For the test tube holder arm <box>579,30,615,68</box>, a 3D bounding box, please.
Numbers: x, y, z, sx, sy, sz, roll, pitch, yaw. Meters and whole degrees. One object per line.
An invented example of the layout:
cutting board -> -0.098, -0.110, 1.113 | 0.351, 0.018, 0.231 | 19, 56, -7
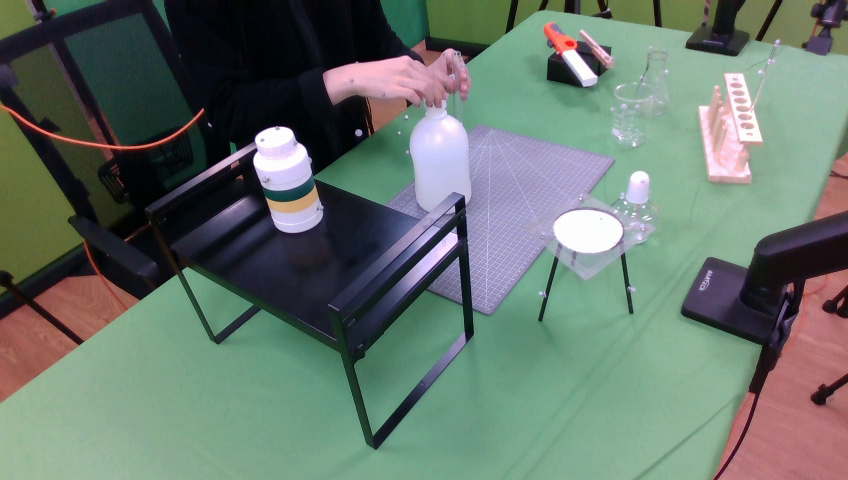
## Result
test tube holder arm -> 0.383, -0.428, 1.351 | 0.013, 0.015, 0.177 | -11, 41, -3

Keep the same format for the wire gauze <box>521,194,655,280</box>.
wire gauze -> 0.207, -0.012, 0.772 | 0.122, 0.011, 0.124 | -28, 44, -20

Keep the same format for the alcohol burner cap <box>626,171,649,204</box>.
alcohol burner cap -> 0.320, -0.081, 0.900 | 0.034, 0.048, 0.033 | -4, 42, 4

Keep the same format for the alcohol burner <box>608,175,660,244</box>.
alcohol burner -> 0.322, -0.053, 0.924 | 0.078, 0.119, 0.077 | -4, 43, 4

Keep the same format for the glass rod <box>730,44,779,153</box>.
glass rod -> 0.555, -0.234, 1.020 | 0.008, 0.200, 0.008 | 2, 40, -1

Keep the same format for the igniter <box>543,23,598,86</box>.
igniter -> 0.320, -0.419, 1.344 | 0.057, 0.025, 0.274 | -12, 44, -3

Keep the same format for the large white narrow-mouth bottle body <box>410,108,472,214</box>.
large white narrow-mouth bottle body -> 0.027, -0.145, 1.006 | 0.102, 0.195, 0.101 | -4, 40, 4

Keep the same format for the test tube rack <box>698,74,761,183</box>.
test tube rack -> 0.547, -0.208, 1.095 | 0.066, 0.085, 0.242 | 5, 42, 15

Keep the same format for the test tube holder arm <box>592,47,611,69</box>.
test tube holder arm -> 0.385, -0.398, 1.317 | 0.010, 0.015, 0.087 | -11, 41, -2

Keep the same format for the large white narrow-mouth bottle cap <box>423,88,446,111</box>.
large white narrow-mouth bottle cap -> 0.016, -0.220, 0.945 | 0.038, 0.024, 0.037 | -4, 40, 4

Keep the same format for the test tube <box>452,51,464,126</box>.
test tube -> 0.058, -0.252, 1.035 | 0.017, 0.151, 0.017 | -3, 46, 3

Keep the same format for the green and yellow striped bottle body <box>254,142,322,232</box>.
green and yellow striped bottle body -> -0.165, -0.073, 0.732 | 0.063, 0.120, 0.063 | -4, 41, 4

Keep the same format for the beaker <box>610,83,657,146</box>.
beaker -> 0.388, -0.235, 1.138 | 0.074, 0.101, 0.083 | -31, 45, -25

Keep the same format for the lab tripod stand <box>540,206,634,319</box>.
lab tripod stand -> 0.217, 0.034, 0.821 | 0.148, 0.132, 0.147 | -4, 42, 4

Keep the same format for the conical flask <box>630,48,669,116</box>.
conical flask -> 0.457, -0.317, 1.205 | 0.075, 0.122, 0.075 | -4, 41, 4

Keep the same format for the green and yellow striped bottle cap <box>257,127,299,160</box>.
green and yellow striped bottle cap -> -0.169, -0.112, 0.698 | 0.045, 0.020, 0.045 | -5, 40, 5
